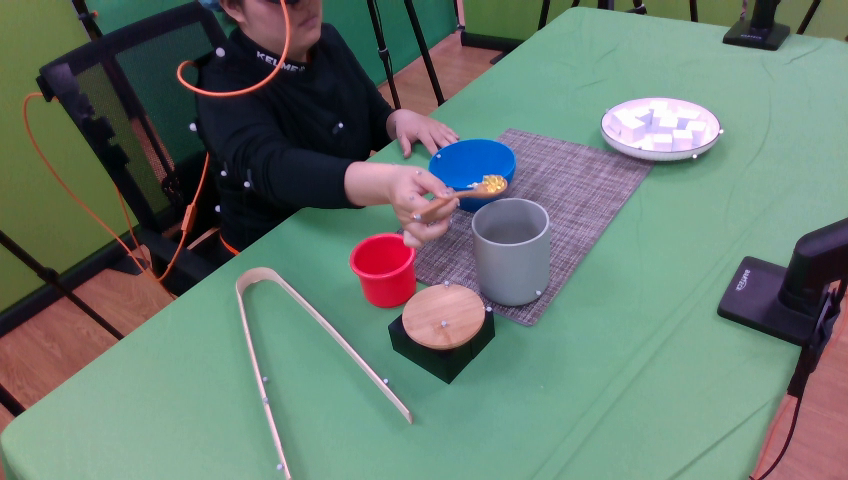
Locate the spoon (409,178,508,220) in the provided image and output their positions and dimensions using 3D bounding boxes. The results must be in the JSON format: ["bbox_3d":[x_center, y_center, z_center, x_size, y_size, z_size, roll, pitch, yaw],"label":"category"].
[{"bbox_3d":[0.046,-0.055,0.777,0.041,0.021,0.195,20,26,37],"label":"spoon"}]

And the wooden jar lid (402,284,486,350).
[{"bbox_3d":[0.027,0.101,0.786,0.108,0.021,0.108,-5,39,4],"label":"wooden jar lid"}]

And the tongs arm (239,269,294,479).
[{"bbox_3d":[-0.208,0.163,0.824,0.051,0.026,0.381,-21,40,-15],"label":"tongs arm"}]

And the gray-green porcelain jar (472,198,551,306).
[{"bbox_3d":[0.125,0.021,0.850,0.106,0.127,0.105,-5,40,5],"label":"gray-green porcelain jar"}]

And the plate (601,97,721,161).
[{"bbox_3d":[0.437,-0.202,1.126,0.209,0.038,0.208,-5,39,5],"label":"plate"}]

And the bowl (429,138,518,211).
[{"bbox_3d":[0.087,-0.104,1.043,0.151,0.077,0.150,-5,40,5],"label":"bowl"}]

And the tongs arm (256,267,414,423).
[{"bbox_3d":[-0.136,0.132,0.853,0.028,0.028,0.384,-34,45,-23],"label":"tongs arm"}]
